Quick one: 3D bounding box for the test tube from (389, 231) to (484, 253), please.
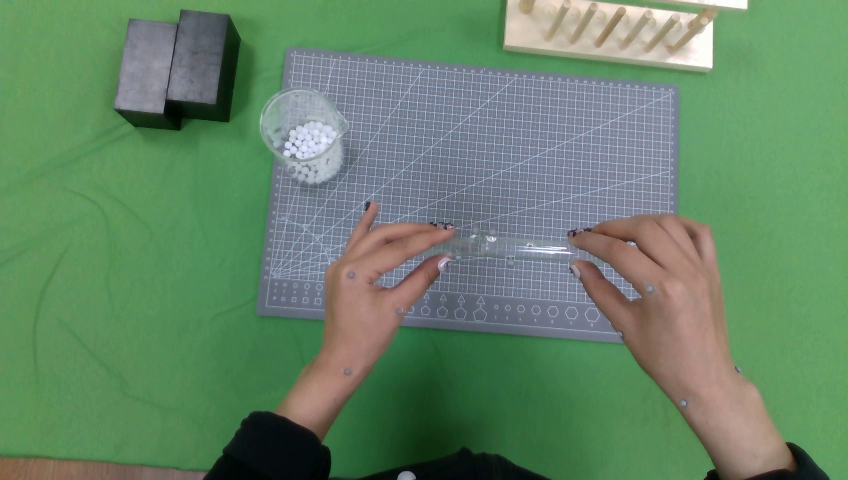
[{"bbox_3d":[0.005,0.003,0.513,0.017,0.149,0.017,0,90,-27],"label":"test tube"}]

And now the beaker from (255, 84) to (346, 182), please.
[{"bbox_3d":[-0.119,-0.103,0.615,0.084,0.100,0.073,-3,82,-5],"label":"beaker"}]

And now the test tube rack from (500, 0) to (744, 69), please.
[{"bbox_3d":[0.213,-0.251,0.669,0.242,0.085,0.066,5,81,-3],"label":"test tube rack"}]

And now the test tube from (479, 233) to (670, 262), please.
[{"bbox_3d":[0.115,0.006,0.456,0.150,0.017,0.017,3,81,-9],"label":"test tube"}]
